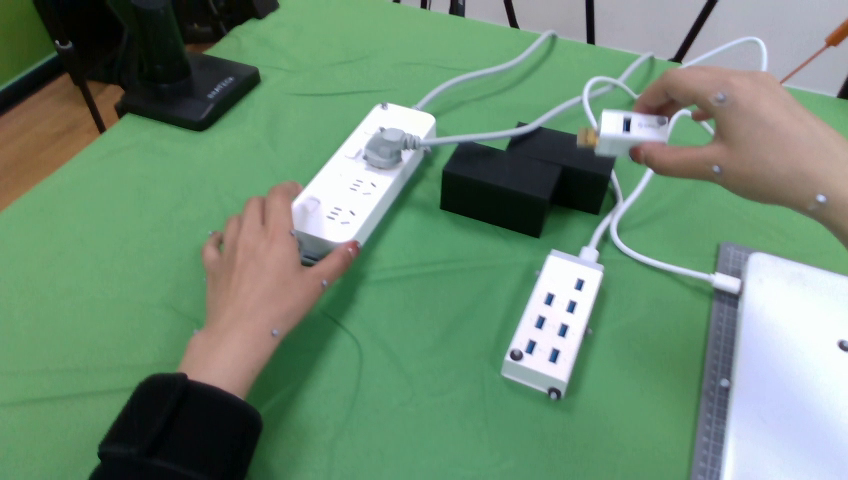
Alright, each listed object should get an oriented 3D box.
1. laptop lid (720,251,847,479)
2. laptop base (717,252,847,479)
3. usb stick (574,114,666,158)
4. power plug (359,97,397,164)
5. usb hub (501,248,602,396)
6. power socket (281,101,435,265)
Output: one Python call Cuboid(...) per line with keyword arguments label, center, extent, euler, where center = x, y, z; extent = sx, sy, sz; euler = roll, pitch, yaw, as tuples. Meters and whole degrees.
Cuboid(label="laptop lid", center=(0.394, 0.139, 0.412), extent=(0.355, 0.013, 0.240), euler=(19, 51, 15))
Cuboid(label="laptop base", center=(0.394, 0.145, 0.422), extent=(0.353, 0.023, 0.234), euler=(18, 52, 14))
Cuboid(label="usb stick", center=(0.135, -0.072, 0.421), extent=(0.059, 0.027, 0.021), euler=(4, 71, 12))
Cuboid(label="power plug", center=(-0.043, -0.100, 0.594), extent=(0.035, 0.053, 0.072), euler=(13, 40, -4))
Cuboid(label="usb hub", center=(0.104, 0.061, 0.484), extent=(0.049, 0.025, 0.124), euler=(18, 49, 16))
Cuboid(label="power socket", center=(-0.058, -0.065, 0.590), extent=(0.072, 0.033, 0.225), euler=(19, 49, 14))
